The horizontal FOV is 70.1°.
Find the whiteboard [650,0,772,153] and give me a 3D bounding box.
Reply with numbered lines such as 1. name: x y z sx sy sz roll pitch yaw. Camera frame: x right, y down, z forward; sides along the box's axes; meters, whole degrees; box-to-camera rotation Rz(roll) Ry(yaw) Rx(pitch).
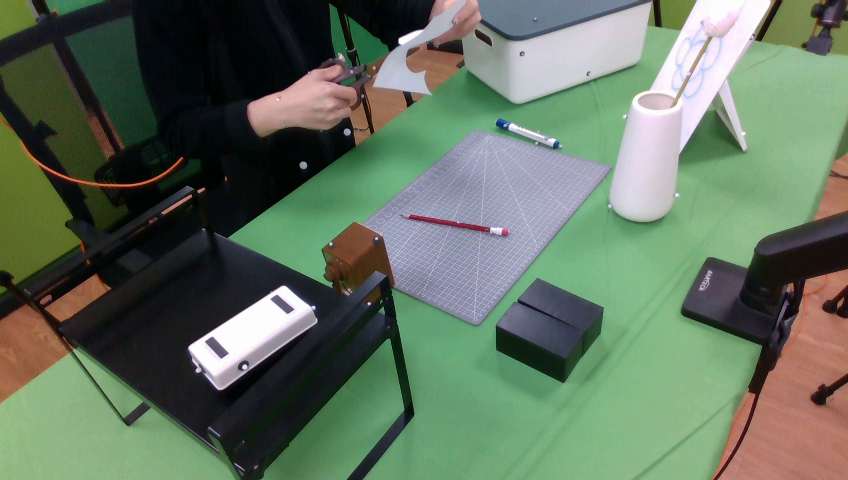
1. whiteboard: 0.543 -0.298 1.076 0.144 0.305 0.216 12 40 -7

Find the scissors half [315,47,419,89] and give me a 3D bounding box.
1. scissors half: -0.088 -0.261 0.898 0.174 0.040 0.013 -9 28 21

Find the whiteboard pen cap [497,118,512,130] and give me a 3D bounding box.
1. whiteboard pen cap: 0.165 -0.235 1.227 0.033 0.018 0.018 31 53 31

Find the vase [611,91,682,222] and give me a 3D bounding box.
1. vase: 0.348 -0.125 0.935 0.098 0.201 0.097 -3 40 3

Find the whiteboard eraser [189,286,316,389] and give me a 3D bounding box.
1. whiteboard eraser: -0.166 0.096 0.593 0.113 0.042 0.055 -36 47 -29

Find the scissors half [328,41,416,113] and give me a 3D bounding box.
1. scissors half: -0.078 -0.243 0.905 0.174 0.040 0.013 -33 12 29

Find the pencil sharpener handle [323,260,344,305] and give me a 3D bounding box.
1. pencil sharpener handle: -0.131 0.062 0.839 0.035 0.068 0.031 29 55 28

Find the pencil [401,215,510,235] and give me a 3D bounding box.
1. pencil: 0.049 -0.027 1.007 0.193 0.012 0.012 10 43 21

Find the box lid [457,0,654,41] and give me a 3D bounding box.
1. box lid: 0.285 -0.522 1.323 0.373 0.015 0.261 -22 43 -16

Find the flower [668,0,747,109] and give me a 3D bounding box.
1. flower: 0.354 -0.187 0.879 0.038 0.362 0.044 30 48 14

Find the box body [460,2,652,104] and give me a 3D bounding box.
1. box body: 0.291 -0.465 1.371 0.365 0.161 0.252 -22 42 -16

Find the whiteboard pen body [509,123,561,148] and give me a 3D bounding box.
1. whiteboard pen body: 0.208 -0.212 1.195 0.139 0.017 0.017 30 52 33

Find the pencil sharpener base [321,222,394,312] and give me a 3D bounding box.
1. pencil sharpener base: -0.096 0.041 0.873 0.061 0.107 0.077 26 54 32
